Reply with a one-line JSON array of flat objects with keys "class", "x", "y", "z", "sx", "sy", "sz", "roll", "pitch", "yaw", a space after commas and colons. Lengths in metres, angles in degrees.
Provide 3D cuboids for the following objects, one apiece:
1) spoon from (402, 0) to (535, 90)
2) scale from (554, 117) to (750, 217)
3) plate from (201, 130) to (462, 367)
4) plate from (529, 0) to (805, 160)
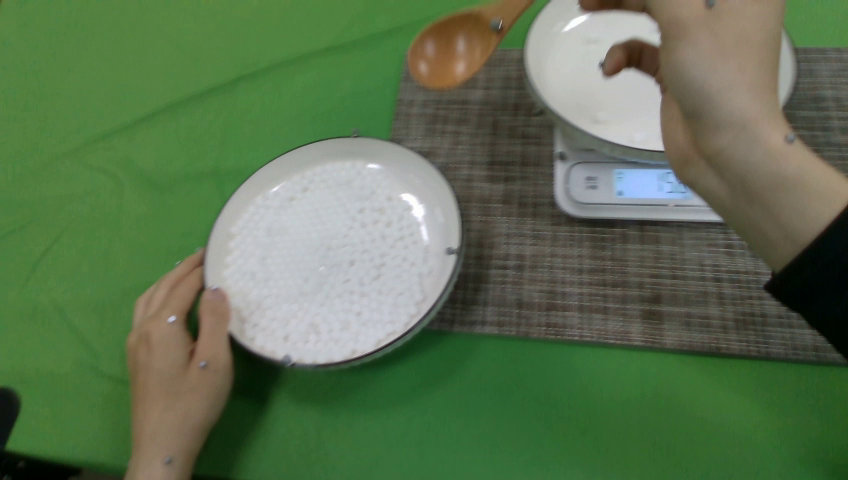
[{"class": "spoon", "x": 0.071, "y": -0.143, "z": 0.337, "sx": 0.193, "sy": 0.022, "sz": 0.041, "roll": -27, "pitch": 84, "yaw": 24}, {"class": "scale", "x": 0.188, "y": -0.111, "z": 0.513, "sx": 0.148, "sy": 0.032, "sz": 0.199, "roll": 3, "pitch": 61, "yaw": 10}, {"class": "plate", "x": -0.071, "y": 0.004, "z": 0.483, "sx": 0.209, "sy": 0.038, "sz": 0.207, "roll": -4, "pitch": 60, "yaw": 8}, {"class": "plate", "x": 0.190, "y": -0.145, "z": 0.494, "sx": 0.207, "sy": 0.039, "sz": 0.206, "roll": -3, "pitch": 60, "yaw": 6}]
